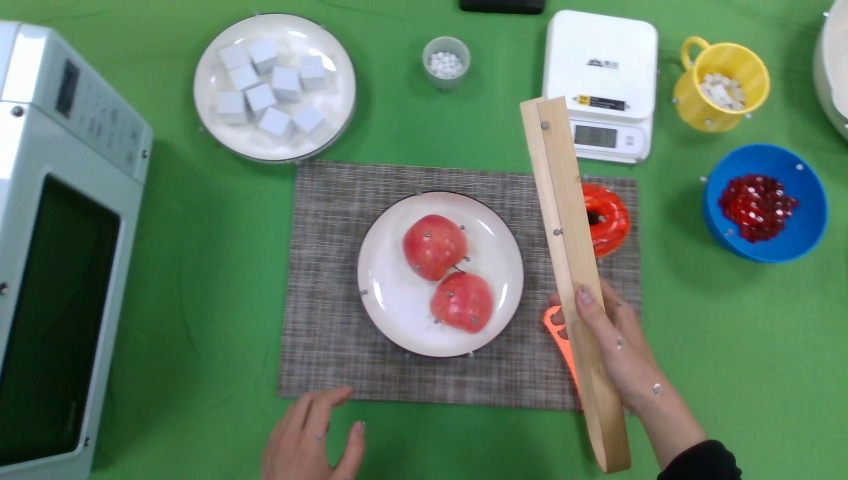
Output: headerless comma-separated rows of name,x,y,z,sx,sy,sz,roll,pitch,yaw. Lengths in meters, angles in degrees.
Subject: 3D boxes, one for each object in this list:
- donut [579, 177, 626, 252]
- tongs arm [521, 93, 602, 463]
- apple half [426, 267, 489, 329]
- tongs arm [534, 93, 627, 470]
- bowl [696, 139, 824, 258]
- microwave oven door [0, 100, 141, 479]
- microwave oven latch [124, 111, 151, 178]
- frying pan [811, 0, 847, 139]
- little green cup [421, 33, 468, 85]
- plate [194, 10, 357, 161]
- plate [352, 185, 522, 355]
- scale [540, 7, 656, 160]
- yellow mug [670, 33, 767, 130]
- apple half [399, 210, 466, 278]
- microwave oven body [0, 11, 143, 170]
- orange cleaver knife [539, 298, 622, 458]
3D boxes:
donut,0.206,-0.032,0.771,0.099,0.048,0.098,0,79,0
tongs arm,0.149,0.048,0.614,0.028,0.028,0.389,-15,102,-4
apple half,0.042,0.068,0.739,0.081,0.033,0.081,0,81,2
tongs arm,0.150,0.056,0.577,0.026,0.050,0.386,-14,102,-1
bowl,0.410,-0.044,0.769,0.151,0.077,0.150,0,79,-2
microwave oven door,-0.381,0.072,0.608,0.039,0.244,0.354,5,78,-1
microwave oven latch,-0.361,-0.119,0.751,0.030,0.029,0.079,7,79,-1
frying pan,0.704,-0.140,0.788,0.307,0.103,0.484,-23,72,-6
little green cup,0.027,-0.240,0.812,0.061,0.039,0.061,1,78,-2
plate,-0.190,-0.199,0.794,0.208,0.039,0.206,1,78,-2
plate,0.016,0.037,0.752,0.209,0.038,0.208,1,79,-2
scale,0.233,-0.213,0.819,0.149,0.031,0.200,7,79,0
yellow mug,0.382,-0.220,0.809,0.100,0.064,0.130,-29,80,-7
apple half,0.010,0.000,0.743,0.081,0.053,0.074,-35,78,-9
microwave oven body,-0.522,0.018,0.618,0.326,0.261,0.440,6,79,-2
orange cleaver knife,0.203,0.162,0.744,0.077,0.012,0.210,-14,77,-11
